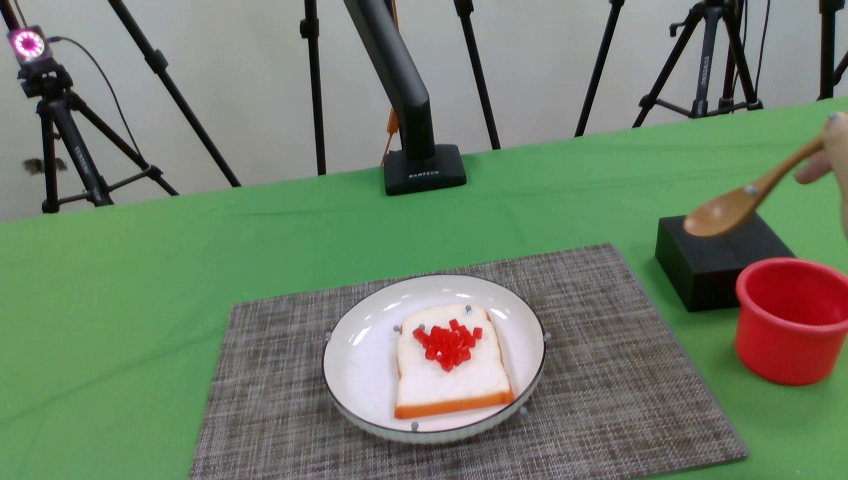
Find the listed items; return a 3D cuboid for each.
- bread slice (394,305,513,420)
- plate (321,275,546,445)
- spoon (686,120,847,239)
[{"bbox_3d":[0.021,0.110,0.574,0.105,0.019,0.130,-7,35,0],"label":"bread slice"},{"bbox_3d":[0.009,0.110,0.572,0.209,0.038,0.207,-6,34,4],"label":"plate"},{"bbox_3d":[0.248,-0.053,0.388,0.022,0.194,0.041,32,51,-7],"label":"spoon"}]
